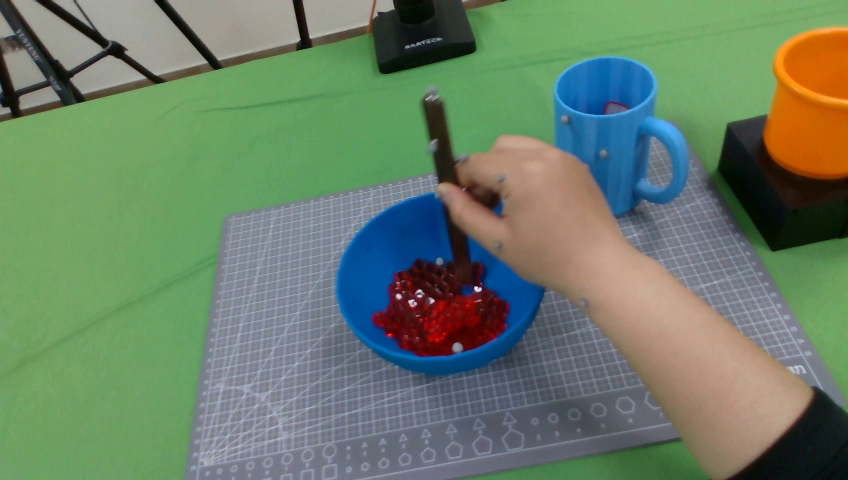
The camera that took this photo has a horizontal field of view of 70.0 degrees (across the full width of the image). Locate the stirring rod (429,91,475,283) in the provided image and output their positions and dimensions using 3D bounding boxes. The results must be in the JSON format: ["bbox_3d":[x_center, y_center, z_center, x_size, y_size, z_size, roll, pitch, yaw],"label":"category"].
[{"bbox_3d":[0.021,-0.024,0.394,0.014,0.178,0.006,13,54,19],"label":"stirring rod"}]

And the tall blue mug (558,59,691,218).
[{"bbox_3d":[0.165,-0.079,0.497,0.106,0.109,0.077,10,52,21],"label":"tall blue mug"}]

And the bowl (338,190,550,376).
[{"bbox_3d":[0.019,0.043,0.449,0.151,0.077,0.150,-6,49,8],"label":"bowl"}]
